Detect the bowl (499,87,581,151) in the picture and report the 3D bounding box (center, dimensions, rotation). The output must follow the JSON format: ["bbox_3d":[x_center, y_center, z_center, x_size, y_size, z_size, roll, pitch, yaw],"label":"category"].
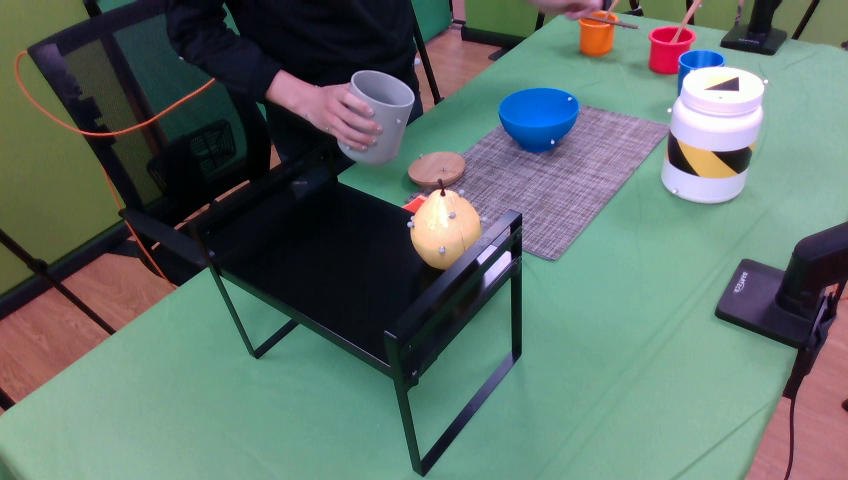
[{"bbox_3d":[0.220,-0.223,1.156,0.151,0.077,0.150,-4,41,4],"label":"bowl"}]

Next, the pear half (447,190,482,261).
[{"bbox_3d":[0.046,-0.020,0.664,0.031,0.088,0.070,-17,38,-9],"label":"pear half"}]

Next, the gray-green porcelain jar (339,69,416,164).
[{"bbox_3d":[-0.081,-0.199,1.000,0.106,0.126,0.105,14,39,-11],"label":"gray-green porcelain jar"}]

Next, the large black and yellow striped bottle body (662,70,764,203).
[{"bbox_3d":[0.464,-0.166,0.976,0.131,0.185,0.130,-5,41,5],"label":"large black and yellow striped bottle body"}]

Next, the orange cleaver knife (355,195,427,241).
[{"bbox_3d":[-0.037,-0.029,0.973,0.210,0.077,0.012,-8,33,50],"label":"orange cleaver knife"}]

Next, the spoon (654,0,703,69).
[{"bbox_3d":[0.569,-0.462,1.335,0.041,0.022,0.193,34,99,37],"label":"spoon"}]

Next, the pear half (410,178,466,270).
[{"bbox_3d":[0.011,-0.019,0.654,0.056,0.110,0.076,-16,37,-9],"label":"pear half"}]

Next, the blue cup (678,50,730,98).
[{"bbox_3d":[0.543,-0.310,1.194,0.092,0.101,0.092,-7,41,6],"label":"blue cup"}]

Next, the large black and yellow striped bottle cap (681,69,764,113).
[{"bbox_3d":[0.453,-0.229,0.921,0.115,0.019,0.114,-4,39,4],"label":"large black and yellow striped bottle cap"}]

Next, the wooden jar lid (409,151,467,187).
[{"bbox_3d":[0.027,-0.131,1.124,0.108,0.021,0.108,-8,36,6],"label":"wooden jar lid"}]

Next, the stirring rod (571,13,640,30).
[{"bbox_3d":[0.418,-0.508,1.404,0.174,0.006,0.014,28,53,35],"label":"stirring rod"}]

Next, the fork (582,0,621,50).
[{"bbox_3d":[0.445,-0.539,1.438,0.207,0.019,0.028,-57,36,12],"label":"fork"}]
